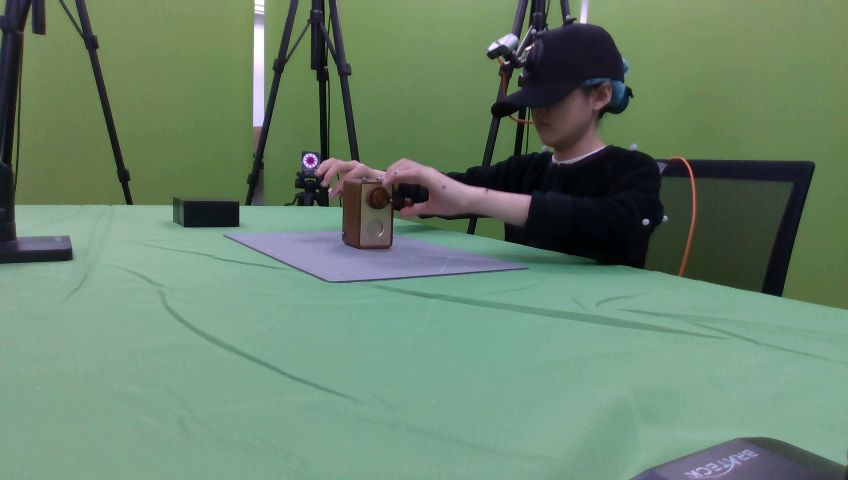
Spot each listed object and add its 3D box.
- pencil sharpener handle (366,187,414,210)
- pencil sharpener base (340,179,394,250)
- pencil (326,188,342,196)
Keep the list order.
[{"bbox_3d":[-0.051,-0.060,0.921,0.068,0.036,0.030,5,6,-31],"label":"pencil sharpener handle"},{"bbox_3d":[-0.091,-0.041,0.960,0.061,0.107,0.076,-1,9,-30],"label":"pencil sharpener base"},{"bbox_3d":[-0.129,-0.077,1.027,0.012,0.012,0.193,-1,8,-29],"label":"pencil"}]
